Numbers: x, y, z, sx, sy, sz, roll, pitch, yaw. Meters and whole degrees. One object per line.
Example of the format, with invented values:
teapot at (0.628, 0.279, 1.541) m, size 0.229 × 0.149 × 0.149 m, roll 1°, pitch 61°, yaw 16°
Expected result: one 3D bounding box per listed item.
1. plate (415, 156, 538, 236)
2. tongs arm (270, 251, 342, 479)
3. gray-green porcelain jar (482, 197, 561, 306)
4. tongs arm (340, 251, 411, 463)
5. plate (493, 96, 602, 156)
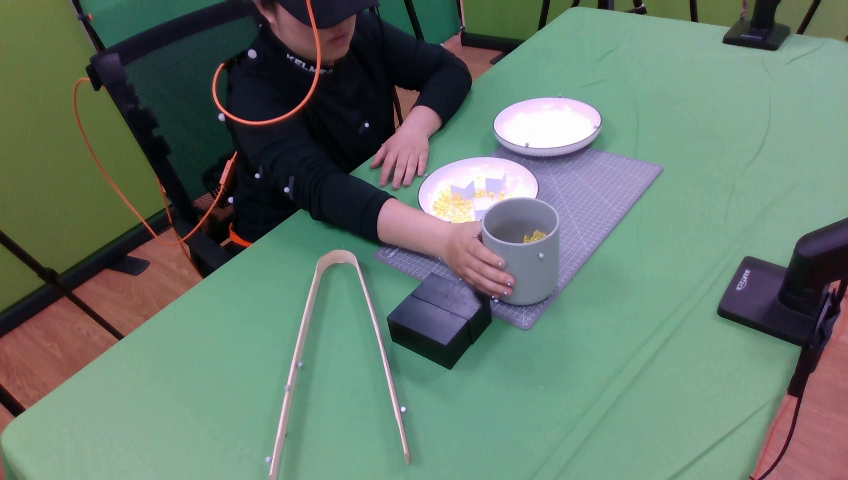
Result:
plate at (0.090, -0.072, 1.034) m, size 0.207 × 0.039 × 0.206 m, roll -5°, pitch 40°, yaw 5°
tongs arm at (-0.153, 0.148, 0.826) m, size 0.051 × 0.026 × 0.382 m, roll -7°, pitch 38°, yaw 3°
gray-green porcelain jar at (0.138, 0.020, 0.846) m, size 0.106 × 0.127 × 0.105 m, roll -5°, pitch 40°, yaw 5°
tongs arm at (-0.071, 0.136, 0.830) m, size 0.028 × 0.028 × 0.384 m, roll -18°, pitch 40°, yaw -5°
plate at (0.238, -0.218, 1.180) m, size 0.209 × 0.038 × 0.208 m, roll -4°, pitch 39°, yaw 4°
